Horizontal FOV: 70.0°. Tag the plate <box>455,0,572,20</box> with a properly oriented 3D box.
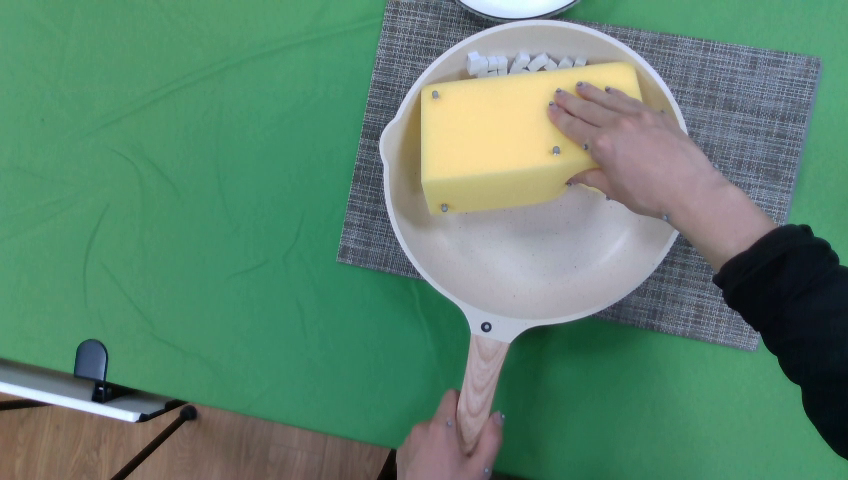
[{"bbox_3d":[0.096,-0.329,0.628,0.207,0.039,0.207,0,91,8],"label":"plate"}]

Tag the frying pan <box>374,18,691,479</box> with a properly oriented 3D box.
[{"bbox_3d":[0.076,0.034,0.599,0.306,0.103,0.486,15,84,8],"label":"frying pan"}]

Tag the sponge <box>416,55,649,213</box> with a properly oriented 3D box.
[{"bbox_3d":[0.098,-0.102,0.588,0.206,0.061,0.117,-7,61,7],"label":"sponge"}]
